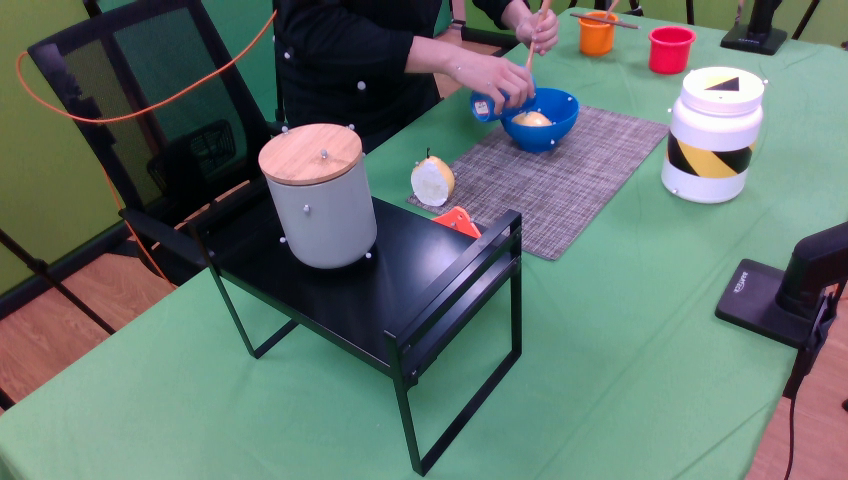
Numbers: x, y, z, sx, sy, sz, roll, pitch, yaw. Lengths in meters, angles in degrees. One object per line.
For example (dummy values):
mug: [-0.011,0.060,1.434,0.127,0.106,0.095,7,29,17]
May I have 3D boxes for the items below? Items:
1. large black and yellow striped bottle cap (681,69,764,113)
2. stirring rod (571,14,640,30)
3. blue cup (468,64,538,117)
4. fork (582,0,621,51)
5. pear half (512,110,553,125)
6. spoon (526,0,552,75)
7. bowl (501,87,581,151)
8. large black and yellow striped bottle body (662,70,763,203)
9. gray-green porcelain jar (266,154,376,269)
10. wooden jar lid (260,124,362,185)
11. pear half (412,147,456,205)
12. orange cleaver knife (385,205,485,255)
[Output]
large black and yellow striped bottle cap: [0.453,-0.229,0.921,0.115,0.019,0.114,-4,39,4]
stirring rod: [0.419,-0.508,1.404,0.174,0.006,0.014,28,55,35]
blue cup: [0.136,-0.262,1.085,0.101,0.093,0.092,-23,42,-28]
fork: [0.446,-0.539,1.438,0.207,0.019,0.028,-57,36,12]
pear half: [0.212,-0.228,1.152,0.088,0.031,0.070,8,47,9]
spoon: [0.197,-0.339,1.092,0.042,0.194,0.021,12,15,-4]
bowl: [0.220,-0.223,1.156,0.151,0.077,0.150,-4,40,4]
large black and yellow striped bottle body: [0.464,-0.166,0.976,0.131,0.185,0.130,-5,41,5]
gray-green porcelain jar: [-0.112,-0.039,0.686,0.106,0.127,0.105,-4,40,4]
wooden jar lid: [-0.119,-0.088,0.645,0.108,0.021,0.108,-4,40,4]
pear half: [0.019,-0.120,1.042,0.076,0.110,0.056,11,44,16]
orange cleaver knife: [0.012,-0.010,0.942,0.012,0.077,0.210,-36,19,-35]
